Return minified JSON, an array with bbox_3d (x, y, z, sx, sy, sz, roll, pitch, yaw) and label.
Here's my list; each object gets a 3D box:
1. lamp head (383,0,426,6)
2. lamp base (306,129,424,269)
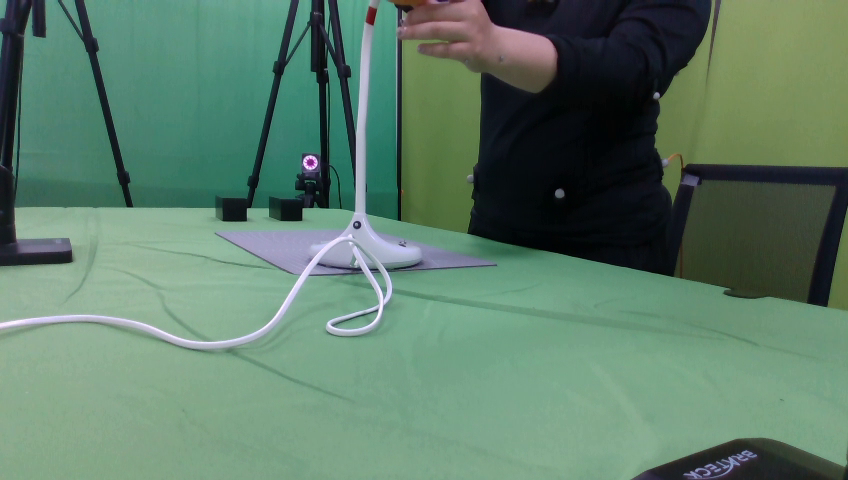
[{"bbox_3d":[-0.025,-0.325,0.670,0.112,0.123,0.112,4,3,0],"label":"lamp head"},{"bbox_3d":[-0.077,-0.057,0.810,0.161,0.180,0.179,2,10,-4],"label":"lamp base"}]
